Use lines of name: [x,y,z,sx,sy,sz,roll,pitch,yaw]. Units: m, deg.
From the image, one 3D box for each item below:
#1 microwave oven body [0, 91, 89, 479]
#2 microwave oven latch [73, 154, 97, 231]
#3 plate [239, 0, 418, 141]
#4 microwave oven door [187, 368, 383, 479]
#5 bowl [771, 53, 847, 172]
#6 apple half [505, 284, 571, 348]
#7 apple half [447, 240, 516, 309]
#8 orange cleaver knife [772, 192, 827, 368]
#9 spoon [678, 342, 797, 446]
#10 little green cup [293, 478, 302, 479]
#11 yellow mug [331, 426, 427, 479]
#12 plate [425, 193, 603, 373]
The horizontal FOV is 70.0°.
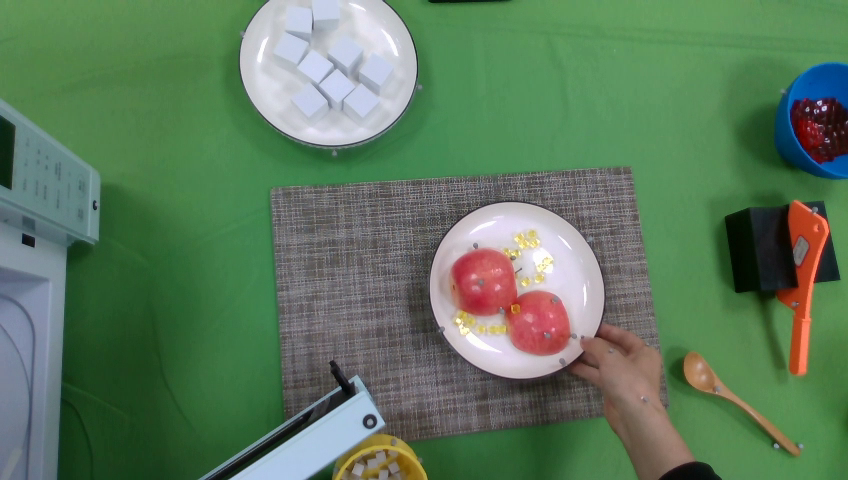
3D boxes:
microwave oven body: [-0.493,0.111,0.504,0.327,0.260,0.440,-1,82,-9]
microwave oven latch: [-0.366,-0.050,0.645,0.030,0.029,0.079,-1,82,-9]
plate: [-0.112,-0.215,0.725,0.208,0.039,0.207,1,81,-8]
microwave oven door: [-0.197,0.228,0.522,0.356,0.244,0.039,-32,85,-11]
bowl: [0.507,-0.152,0.779,0.152,0.077,0.151,1,81,-7]
apple half: [0.132,0.086,0.694,0.081,0.033,0.081,1,73,-2]
apple half: [0.067,0.037,0.686,0.075,0.053,0.080,-7,79,-7]
orange cleaver knife: [0.450,0.050,0.738,0.012,0.077,0.212,-3,105,-4]
spoon: [0.382,0.192,0.736,0.194,0.022,0.041,38,61,0]
little green cup: [-0.140,0.283,0.642,0.062,0.038,0.061,2,80,-8]
yellow mug: [-0.051,0.270,0.642,0.100,0.064,0.130,7,83,-7]
plate: [0.102,0.049,0.704,0.209,0.038,0.208,2,78,-8]
